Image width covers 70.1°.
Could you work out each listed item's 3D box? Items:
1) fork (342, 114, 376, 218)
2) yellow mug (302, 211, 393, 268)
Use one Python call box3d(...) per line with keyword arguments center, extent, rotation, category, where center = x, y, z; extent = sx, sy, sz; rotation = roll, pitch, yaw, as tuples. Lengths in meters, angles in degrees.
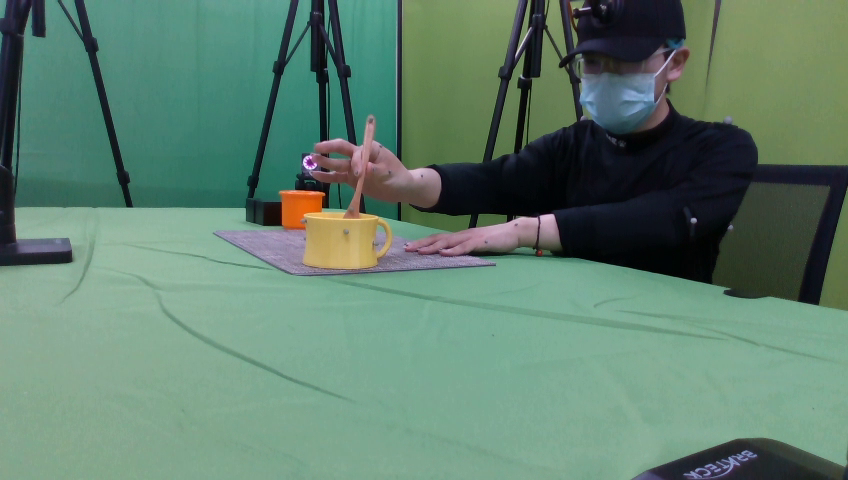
box3d(center=(-0.089, -0.080, 0.827), extent=(0.028, 0.207, 0.018), rotation=(15, -13, -19), category="fork")
box3d(center=(-0.098, -0.003, 0.810), extent=(0.131, 0.064, 0.099), rotation=(-2, 8, -37), category="yellow mug")
